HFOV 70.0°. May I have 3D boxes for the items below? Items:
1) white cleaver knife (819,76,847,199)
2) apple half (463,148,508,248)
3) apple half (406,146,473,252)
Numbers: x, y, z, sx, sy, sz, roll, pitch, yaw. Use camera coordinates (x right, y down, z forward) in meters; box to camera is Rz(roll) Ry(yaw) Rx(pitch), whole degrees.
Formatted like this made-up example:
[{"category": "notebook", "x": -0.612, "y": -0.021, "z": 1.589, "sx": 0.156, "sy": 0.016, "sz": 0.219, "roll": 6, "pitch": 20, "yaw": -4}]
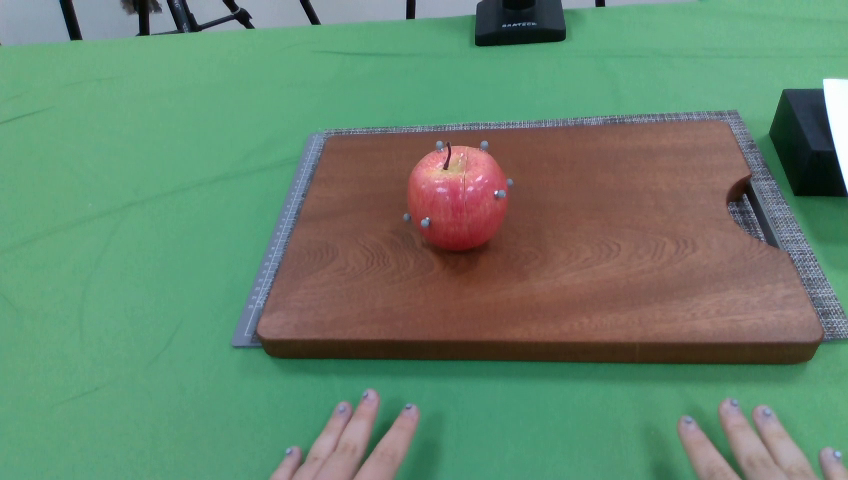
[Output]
[{"category": "white cleaver knife", "x": 0.366, "y": -0.028, "z": 0.473, "sx": 0.065, "sy": 0.022, "sz": 0.284, "roll": 0, "pitch": 55, "yaw": 13}, {"category": "apple half", "x": 0.051, "y": -0.033, "z": 0.482, "sx": 0.033, "sy": 0.082, "sz": 0.080, "roll": -4, "pitch": 43, "yaw": 11}, {"category": "apple half", "x": 0.013, "y": -0.032, "z": 0.489, "sx": 0.053, "sy": 0.075, "sz": 0.080, "roll": -4, "pitch": 46, "yaw": 11}]
